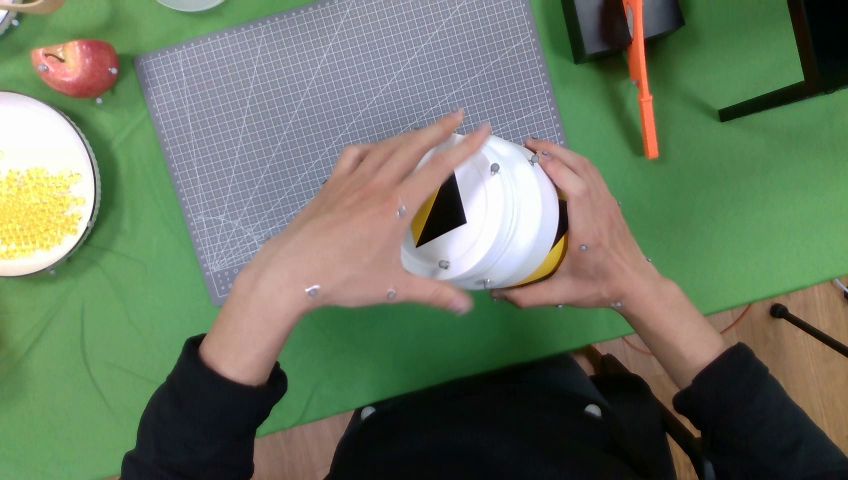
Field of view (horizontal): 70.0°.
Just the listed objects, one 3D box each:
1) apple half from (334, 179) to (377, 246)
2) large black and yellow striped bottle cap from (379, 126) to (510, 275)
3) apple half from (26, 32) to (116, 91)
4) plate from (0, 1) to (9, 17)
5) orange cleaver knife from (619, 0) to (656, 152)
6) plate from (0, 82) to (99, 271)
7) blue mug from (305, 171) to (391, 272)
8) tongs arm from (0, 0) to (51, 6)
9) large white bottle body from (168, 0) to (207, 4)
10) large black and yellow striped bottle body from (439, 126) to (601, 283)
[{"bbox_3d":[-0.067,-0.026,0.649,0.033,0.081,0.081,16,94,6],"label":"apple half"},{"bbox_3d":[0.012,-0.030,0.467,0.114,0.019,0.115,-3,86,37],"label":"large black and yellow striped bottle cap"},{"bbox_3d":[-0.376,-0.189,0.657,0.081,0.074,0.053,-12,98,-3],"label":"apple half"},{"bbox_3d":[-0.541,-0.313,0.661,0.208,0.039,0.208,0,95,-1],"label":"plate"},{"bbox_3d":[0.229,-0.199,0.656,0.012,0.076,0.213,-14,121,10],"label":"orange cleaver knife"},{"bbox_3d":[-0.468,-0.070,0.683,0.209,0.038,0.209,0,95,0],"label":"plate"},{"bbox_3d":[-0.069,-0.016,0.655,0.082,0.105,0.116,-31,94,2],"label":"blue mug"},{"bbox_3d":[-0.575,-0.292,0.631,0.385,0.026,0.051,12,91,0],"label":"tongs arm"},{"bbox_3d":[-0.264,-0.323,0.590,0.130,0.184,0.130,0,94,0],"label":"large white bottle body"},{"bbox_3d":[0.063,-0.028,0.535,0.130,0.185,0.130,-1,89,37],"label":"large black and yellow striped bottle body"}]
